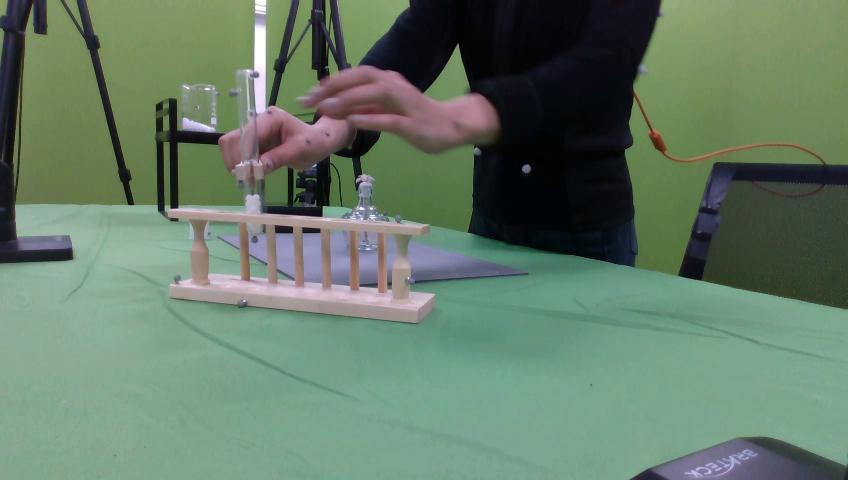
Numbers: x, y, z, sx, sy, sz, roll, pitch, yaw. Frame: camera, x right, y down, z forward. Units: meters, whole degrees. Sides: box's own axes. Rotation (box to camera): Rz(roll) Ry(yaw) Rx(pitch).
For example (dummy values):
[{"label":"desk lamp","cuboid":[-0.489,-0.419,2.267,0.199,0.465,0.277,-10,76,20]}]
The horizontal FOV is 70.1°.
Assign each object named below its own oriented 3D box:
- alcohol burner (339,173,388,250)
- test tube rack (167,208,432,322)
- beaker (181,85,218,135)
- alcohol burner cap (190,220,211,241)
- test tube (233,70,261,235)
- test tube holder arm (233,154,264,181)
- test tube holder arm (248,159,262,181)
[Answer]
[{"label":"alcohol burner","cuboid":[-0.094,-0.045,0.938,0.078,0.119,0.078,0,7,0]},{"label":"test tube rack","cuboid":[-0.116,0.018,0.573,0.242,0.085,0.067,4,7,13]},{"label":"beaker","cuboid":[-0.479,-0.276,1.290,0.074,0.100,0.084,2,8,-1]},{"label":"alcohol burner cap","cuboid":[-0.365,-0.023,0.987,0.034,0.048,0.034,2,8,0]},{"label":"test tube","cuboid":[-0.162,-0.079,0.556,0.017,0.150,0.017,-1,9,1]},{"label":"test tube holder arm","cuboid":[-0.179,-0.077,0.622,0.013,0.015,0.178,1,12,-10]},{"label":"test tube holder arm","cuboid":[-0.163,-0.068,0.580,0.010,0.015,0.087,-2,12,-18]}]
